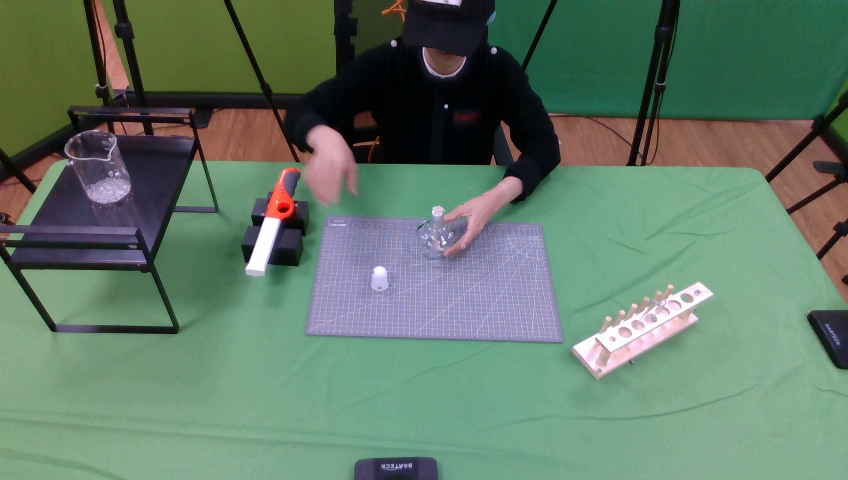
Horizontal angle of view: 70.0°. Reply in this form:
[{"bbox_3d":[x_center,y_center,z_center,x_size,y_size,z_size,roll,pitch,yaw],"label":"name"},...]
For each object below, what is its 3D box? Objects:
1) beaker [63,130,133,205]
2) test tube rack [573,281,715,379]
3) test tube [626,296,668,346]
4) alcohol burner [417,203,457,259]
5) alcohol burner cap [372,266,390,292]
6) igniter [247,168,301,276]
[{"bbox_3d":[-0.511,-0.112,0.964,0.083,0.101,0.074,31,52,23],"label":"beaker"},{"bbox_3d":[0.378,0.140,1.038,0.242,0.085,0.066,-22,51,-23],"label":"test tube rack"},{"bbox_3d":[0.352,0.133,0.970,0.017,0.151,0.017,3,54,-4],"label":"test tube"},{"bbox_3d":[0.025,-0.022,1.150,0.078,0.120,0.077,0,45,0],"label":"alcohol burner"},{"bbox_3d":[-0.080,0.069,1.105,0.034,0.048,0.033,0,46,0],"label":"alcohol burner cap"},{"bbox_3d":[-0.282,-0.043,1.149,0.057,0.025,0.275,8,48,-1],"label":"igniter"}]
